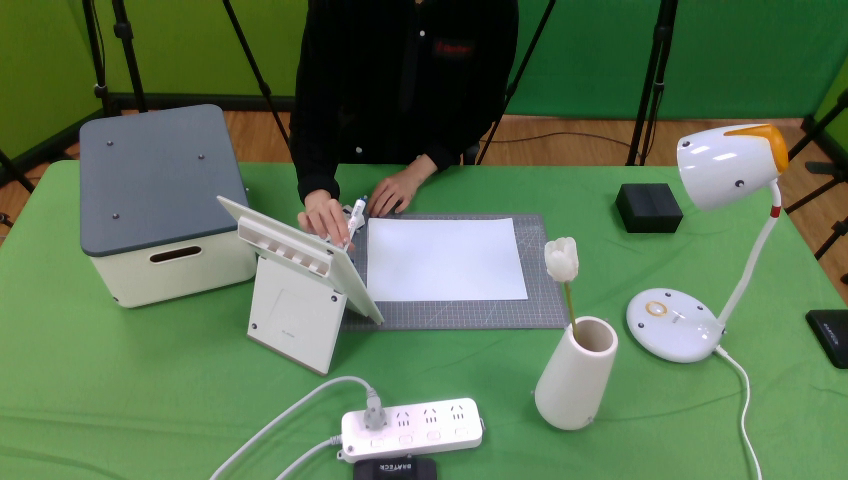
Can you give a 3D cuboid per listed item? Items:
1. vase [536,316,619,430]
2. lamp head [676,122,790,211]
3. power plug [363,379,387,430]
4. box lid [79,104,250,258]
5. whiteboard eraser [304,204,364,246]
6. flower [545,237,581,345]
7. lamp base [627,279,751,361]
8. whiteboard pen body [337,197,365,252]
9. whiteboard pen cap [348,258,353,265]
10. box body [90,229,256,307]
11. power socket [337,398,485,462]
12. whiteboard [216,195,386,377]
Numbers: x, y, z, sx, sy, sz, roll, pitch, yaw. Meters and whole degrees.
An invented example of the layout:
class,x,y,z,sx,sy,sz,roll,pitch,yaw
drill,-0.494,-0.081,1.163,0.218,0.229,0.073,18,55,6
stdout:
class,x,y,z,sx,sy,sz,roll,pitch,yaw
vase,0.229,0.200,0.901,0.098,0.201,0.097,3,46,-3
lamp head,0.423,-0.104,0.819,0.122,0.113,0.112,-13,33,40
power plug,-0.071,0.252,0.911,0.035,0.053,0.072,3,40,0
box lid,-0.467,-0.120,1.075,0.264,0.015,0.369,-13,49,-17
whiteboard eraser,-0.175,-0.022,1.188,0.055,0.042,0.112,36,53,26
flower,0.213,0.137,0.846,0.038,0.364,0.044,22,55,40
lamp base,0.460,0.100,1.027,0.178,0.181,0.160,27,51,17
whiteboard pen body,-0.122,-0.009,0.968,0.017,0.017,0.140,14,63,9
whiteboard pen cap,-0.152,0.041,1.146,0.033,0.018,0.018,11,47,11
box body,-0.471,-0.070,1.131,0.254,0.161,0.361,-14,49,-17
power socket,-0.018,0.285,0.914,0.227,0.033,0.071,-4,46,-8
whiteboard,-0.212,0.093,0.939,0.216,0.307,0.143,24,70,17
